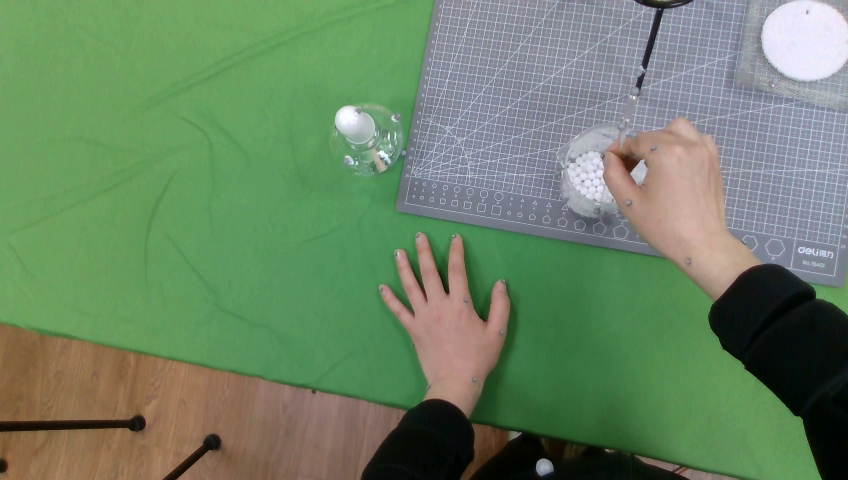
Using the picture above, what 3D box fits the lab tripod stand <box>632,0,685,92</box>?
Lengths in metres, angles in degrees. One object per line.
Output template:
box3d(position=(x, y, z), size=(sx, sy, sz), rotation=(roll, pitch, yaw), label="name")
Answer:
box3d(position=(0.211, -0.231, 0.569), size=(0.148, 0.132, 0.148), rotation=(0, 86, 7), label="lab tripod stand")

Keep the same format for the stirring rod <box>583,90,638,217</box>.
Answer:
box3d(position=(0.155, -0.065, 0.514), size=(0.014, 0.177, 0.006), rotation=(12, 64, 11), label="stirring rod")

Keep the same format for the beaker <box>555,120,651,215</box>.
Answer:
box3d(position=(0.163, -0.065, 0.578), size=(0.084, 0.100, 0.074), rotation=(17, 87, 10), label="beaker")

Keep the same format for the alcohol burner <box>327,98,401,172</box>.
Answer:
box3d(position=(-0.064, -0.110, 0.609), size=(0.078, 0.119, 0.077), rotation=(-1, 83, 7), label="alcohol burner")

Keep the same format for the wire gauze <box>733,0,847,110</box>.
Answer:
box3d(position=(0.381, -0.201, 0.606), size=(0.125, 0.011, 0.121), rotation=(15, 87, 6), label="wire gauze")

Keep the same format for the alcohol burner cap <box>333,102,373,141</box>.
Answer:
box3d(position=(-0.070, -0.114, 0.574), size=(0.034, 0.048, 0.034), rotation=(0, 88, 8), label="alcohol burner cap")
